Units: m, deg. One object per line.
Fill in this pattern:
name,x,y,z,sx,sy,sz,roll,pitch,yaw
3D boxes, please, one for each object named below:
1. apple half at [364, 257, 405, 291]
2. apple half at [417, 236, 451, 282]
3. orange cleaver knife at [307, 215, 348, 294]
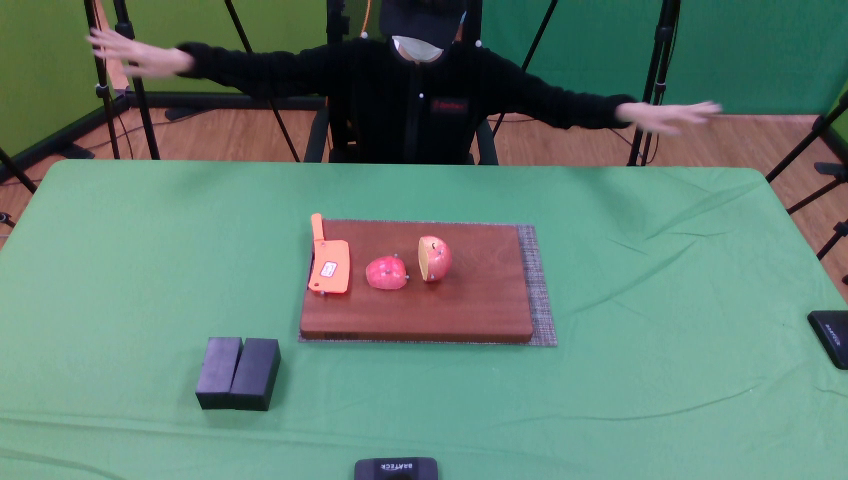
apple half,-0.070,0.054,1.095,0.081,0.033,0.081,4,45,-4
apple half,0.020,0.035,1.092,0.053,0.075,0.080,-4,42,-14
orange cleaver knife,-0.180,0.023,1.126,0.077,0.012,0.210,-6,44,-7
